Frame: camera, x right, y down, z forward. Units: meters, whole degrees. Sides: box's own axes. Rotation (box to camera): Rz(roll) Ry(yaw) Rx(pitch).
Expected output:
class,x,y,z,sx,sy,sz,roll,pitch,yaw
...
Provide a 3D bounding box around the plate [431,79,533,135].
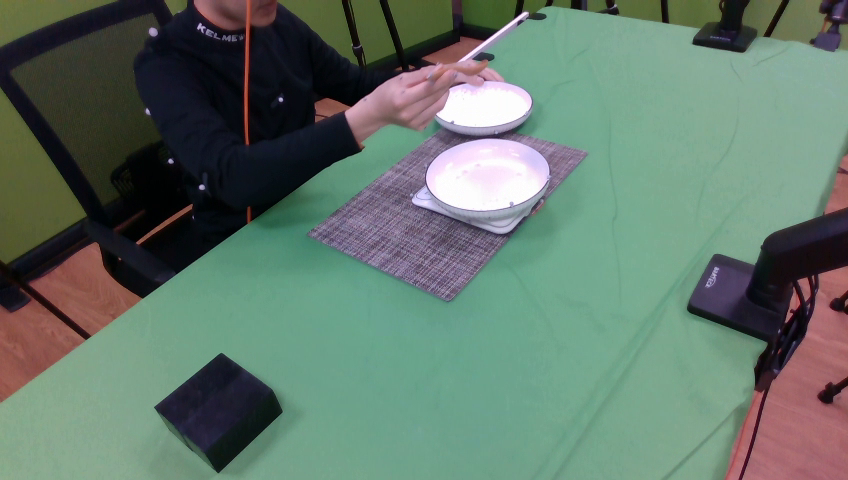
class,x,y,z,sx,sy,sz,roll,pitch,yaw
plate,0.120,-0.271,1.250,0.209,0.038,0.208,-4,39,3

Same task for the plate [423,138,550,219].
class,x,y,z,sx,sy,sz,roll,pitch,yaw
plate,0.104,-0.099,1.005,0.207,0.039,0.206,-4,41,4

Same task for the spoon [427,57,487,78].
class,x,y,z,sx,sy,sz,roll,pitch,yaw
spoon,0.049,-0.265,0.931,0.041,0.021,0.194,-19,6,34

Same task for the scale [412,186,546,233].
class,x,y,z,sx,sy,sz,roll,pitch,yaw
scale,0.093,-0.083,1.039,0.199,0.032,0.149,22,48,30
